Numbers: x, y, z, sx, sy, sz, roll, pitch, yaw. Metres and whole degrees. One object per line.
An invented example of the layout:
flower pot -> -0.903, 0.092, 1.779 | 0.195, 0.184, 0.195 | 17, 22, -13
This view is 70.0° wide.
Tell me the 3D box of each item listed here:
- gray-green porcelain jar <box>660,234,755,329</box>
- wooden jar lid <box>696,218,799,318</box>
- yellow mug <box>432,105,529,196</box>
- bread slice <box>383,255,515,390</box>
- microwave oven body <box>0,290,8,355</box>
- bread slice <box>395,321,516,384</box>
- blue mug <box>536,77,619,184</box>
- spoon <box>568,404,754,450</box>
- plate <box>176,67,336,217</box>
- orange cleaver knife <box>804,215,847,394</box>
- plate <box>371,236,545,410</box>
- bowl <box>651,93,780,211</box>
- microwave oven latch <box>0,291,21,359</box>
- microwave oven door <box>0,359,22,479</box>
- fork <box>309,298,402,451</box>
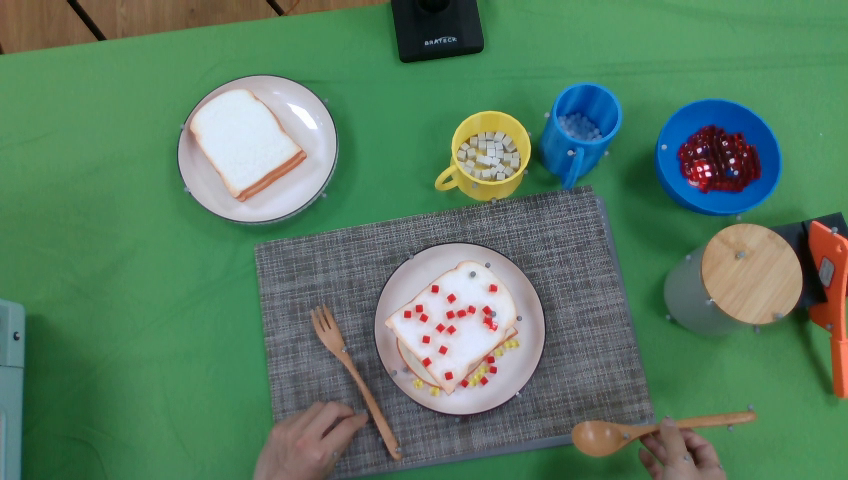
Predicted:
gray-green porcelain jar -> 0.343, 0.047, 0.705 | 0.106, 0.127, 0.105 | 0, 76, 0
wooden jar lid -> 0.341, 0.030, 0.644 | 0.108, 0.021, 0.108 | 0, 78, -2
yellow mug -> 0.068, -0.106, 0.777 | 0.131, 0.064, 0.099 | -30, 76, -5
bread slice -> 0.034, 0.082, 0.680 | 0.107, 0.018, 0.134 | 45, 75, 5
microwave oven body -> -0.629, 0.266, 0.585 | 0.326, 0.261, 0.439 | -8, 76, -2
bread slice -> 0.032, 0.110, 0.737 | 0.131, 0.019, 0.104 | -41, 77, -11
blue mug -> 0.188, -0.128, 0.761 | 0.082, 0.106, 0.116 | 11, 76, 4
spoon -> 0.253, 0.194, 0.649 | 0.193, 0.022, 0.041 | -12, 45, 10
plate -> -0.218, -0.126, 0.799 | 0.208, 0.039, 0.206 | 0, 76, 1
orange cleaver knife -> 0.477, 0.076, 0.718 | 0.012, 0.077, 0.212 | -11, 102, -1
plate -> 0.040, 0.099, 0.736 | 0.209, 0.038, 0.208 | 0, 76, 1
bowl -> 0.354, -0.100, 0.766 | 0.151, 0.077, 0.150 | 0, 76, 1
microwave oven latch -> -0.504, 0.102, 0.724 | 0.030, 0.029, 0.078 | -4, 76, -1
microwave oven door -> -0.479, 0.287, 0.573 | 0.039, 0.245, 0.353 | -8, 75, -1
fork -> -0.081, 0.162, 0.733 | 0.028, 0.019, 0.206 | -30, 78, -4
